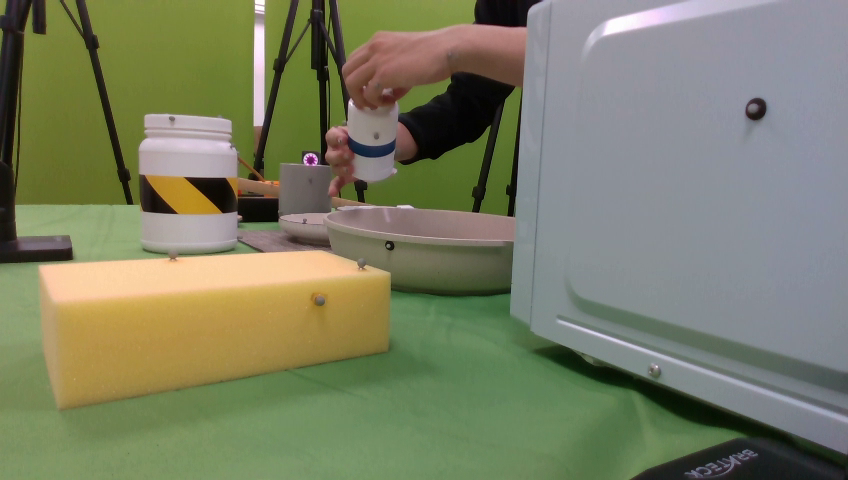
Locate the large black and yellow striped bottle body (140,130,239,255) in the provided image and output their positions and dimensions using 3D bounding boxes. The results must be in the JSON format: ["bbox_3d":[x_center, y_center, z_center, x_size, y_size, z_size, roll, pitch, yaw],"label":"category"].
[{"bbox_3d":[-0.336,-0.078,0.871,0.131,0.184,0.130,2,8,0],"label":"large black and yellow striped bottle body"}]

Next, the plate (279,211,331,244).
[{"bbox_3d":[-0.139,-0.022,1.021,0.209,0.038,0.209,2,8,0],"label":"plate"}]

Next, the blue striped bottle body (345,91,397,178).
[{"bbox_3d":[-0.067,-0.143,0.763,0.063,0.121,0.063,5,41,-4],"label":"blue striped bottle body"}]

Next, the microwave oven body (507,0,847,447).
[{"bbox_3d":[0.331,-0.042,0.425,0.444,0.260,0.324,-2,8,-31],"label":"microwave oven body"}]

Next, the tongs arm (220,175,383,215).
[{"bbox_3d":[-0.285,-0.105,1.445,0.389,0.027,0.028,10,-3,-23],"label":"tongs arm"}]

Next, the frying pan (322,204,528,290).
[{"bbox_3d":[0.110,-0.018,0.800,0.490,0.102,0.305,-12,16,-30],"label":"frying pan"}]

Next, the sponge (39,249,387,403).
[{"bbox_3d":[-0.142,0.047,0.420,0.208,0.061,0.117,-3,8,-37],"label":"sponge"}]

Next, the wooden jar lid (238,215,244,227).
[{"bbox_3d":[-0.404,-0.037,1.169,0.108,0.020,0.108,3,7,0],"label":"wooden jar lid"}]

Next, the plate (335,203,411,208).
[{"bbox_3d":[-0.089,-0.053,1.309,0.208,0.039,0.207,2,8,0],"label":"plate"}]

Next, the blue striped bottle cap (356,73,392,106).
[{"bbox_3d":[-0.060,-0.182,0.730,0.044,0.020,0.044,2,45,-1],"label":"blue striped bottle cap"}]

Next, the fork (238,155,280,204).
[{"bbox_3d":[-0.396,-0.143,1.486,0.028,0.018,0.208,19,-26,44],"label":"fork"}]

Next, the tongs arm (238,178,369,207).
[{"bbox_3d":[-0.241,-0.095,1.374,0.387,0.026,0.050,9,0,-37],"label":"tongs arm"}]

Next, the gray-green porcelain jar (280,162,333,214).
[{"bbox_3d":[-0.238,-0.092,1.221,0.106,0.126,0.106,2,7,0],"label":"gray-green porcelain jar"}]

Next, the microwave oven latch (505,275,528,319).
[{"bbox_3d":[0.100,0.041,0.471,0.079,0.029,0.030,-1,8,-28],"label":"microwave oven latch"}]

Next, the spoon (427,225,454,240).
[{"bbox_3d":[0.024,-0.019,1.125,0.042,0.021,0.193,-15,9,-4],"label":"spoon"}]

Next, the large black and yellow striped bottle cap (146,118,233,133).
[{"bbox_3d":[-0.333,-0.163,0.861,0.115,0.019,0.115,1,9,0],"label":"large black and yellow striped bottle cap"}]

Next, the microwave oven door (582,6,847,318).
[{"bbox_3d":[0.295,-0.067,0.569,0.358,0.243,0.039,-3,8,-31],"label":"microwave oven door"}]
